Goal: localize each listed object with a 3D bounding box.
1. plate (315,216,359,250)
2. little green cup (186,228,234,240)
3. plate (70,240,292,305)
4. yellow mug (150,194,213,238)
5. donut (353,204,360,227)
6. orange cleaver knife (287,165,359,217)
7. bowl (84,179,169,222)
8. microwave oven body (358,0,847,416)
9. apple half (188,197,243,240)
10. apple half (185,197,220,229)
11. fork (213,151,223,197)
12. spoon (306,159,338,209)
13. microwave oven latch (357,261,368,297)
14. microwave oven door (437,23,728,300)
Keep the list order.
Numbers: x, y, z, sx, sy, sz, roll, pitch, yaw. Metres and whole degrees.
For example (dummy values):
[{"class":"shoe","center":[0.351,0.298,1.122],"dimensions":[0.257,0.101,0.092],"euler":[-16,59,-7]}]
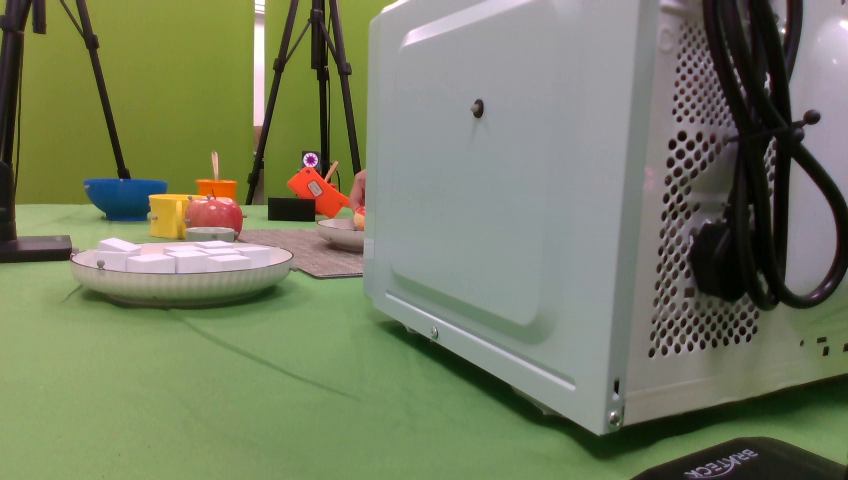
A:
[{"class":"plate","center":[-0.068,-0.010,0.963],"dimensions":[0.209,0.038,0.209],"euler":[3,8,0]},{"class":"little green cup","center":[-0.284,0.005,0.805],"dimensions":[0.061,0.038,0.061],"euler":[3,8,0]},{"class":"plate","center":[-0.242,0.031,0.618],"dimensions":[0.208,0.039,0.207],"euler":[2,8,0]},{"class":"yellow mug","center":[-0.401,-0.040,1.003],"dimensions":[0.100,0.064,0.130],"euler":[-1,9,-20]},{"class":"donut","center":[-0.065,-0.029,0.961],"dimensions":[0.099,0.048,0.099],"euler":[16,7,-2]},{"class":"orange cleaver knife","center":[-0.211,-0.093,1.382],"dimensions":[0.212,0.077,0.012],"euler":[33,1,-15]},{"class":"bowl","center":[-0.584,-0.078,1.194],"dimensions":[0.151,0.077,0.151],"euler":[3,8,0]},{"class":"microwave oven body","center":[0.211,-0.047,0.475],"dimensions":[0.444,0.260,0.324],"euler":[-1,7,-28]},{"class":"apple half","center":[-0.305,-0.026,0.907],"dimensions":[0.053,0.074,0.081],"euler":[12,8,31]},{"class":"apple half","center":[-0.338,-0.031,0.927],"dimensions":[0.032,0.081,0.081],"euler":[12,12,31]},{"class":"fork","center":[-0.494,-0.143,1.442],"dimensions":[0.028,0.018,0.206],"euler":[-2,52,-20]},{"class":"spoon","center":[-0.257,-0.147,1.567],"dimensions":[0.041,0.022,0.193],"euler":[1,51,20]},{"class":"microwave oven latch","center":[-0.019,0.033,0.531],"dimensions":[0.079,0.029,0.030],"euler":[-1,7,-27]},{"class":"microwave oven door","center":[0.181,-0.072,0.621],"dimensions":[0.358,0.243,0.039],"euler":[-2,8,-29]}]
